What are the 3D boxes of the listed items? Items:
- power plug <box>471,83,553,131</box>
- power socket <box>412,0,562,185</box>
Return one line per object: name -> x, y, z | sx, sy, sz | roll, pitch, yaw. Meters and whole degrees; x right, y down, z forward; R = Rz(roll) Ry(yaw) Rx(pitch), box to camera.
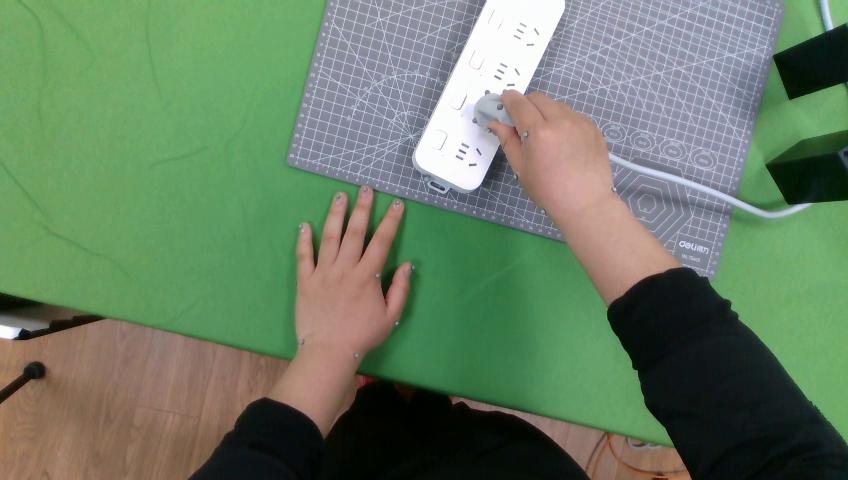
power plug -> 0.075, -0.112, 0.554 | 0.073, 0.052, 0.035 | 42, 88, -8
power socket -> 0.060, -0.159, 0.583 | 0.072, 0.032, 0.226 | 25, 90, -7
